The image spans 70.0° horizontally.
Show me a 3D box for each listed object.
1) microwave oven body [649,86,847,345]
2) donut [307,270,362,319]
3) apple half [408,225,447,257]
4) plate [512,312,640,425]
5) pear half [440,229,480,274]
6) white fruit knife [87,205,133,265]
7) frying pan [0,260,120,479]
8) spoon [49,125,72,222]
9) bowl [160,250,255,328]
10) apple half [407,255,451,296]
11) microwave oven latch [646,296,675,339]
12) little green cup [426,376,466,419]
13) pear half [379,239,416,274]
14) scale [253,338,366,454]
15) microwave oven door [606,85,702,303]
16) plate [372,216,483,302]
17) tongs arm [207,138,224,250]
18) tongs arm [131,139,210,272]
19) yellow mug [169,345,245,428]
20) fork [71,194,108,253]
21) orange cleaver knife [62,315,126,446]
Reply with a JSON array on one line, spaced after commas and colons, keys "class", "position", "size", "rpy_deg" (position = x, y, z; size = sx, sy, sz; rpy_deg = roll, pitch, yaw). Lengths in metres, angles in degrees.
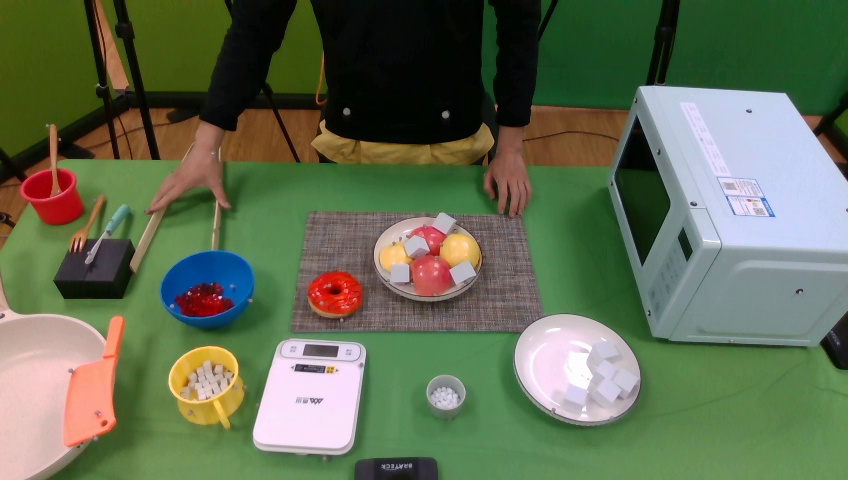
[{"class": "microwave oven body", "position": [0.567, -0.053, 1.118], "size": [0.326, 0.261, 0.439], "rpy_deg": [2, 45, -1]}, {"class": "donut", "position": [-0.158, 0.097, 1.073], "size": [0.099, 0.048, 0.098], "rpy_deg": [4, 45, -4]}, {"class": "apple half", "position": [0.010, -0.006, 1.176], "size": [0.081, 0.033, 0.081], "rpy_deg": [1, 53, -1]}, {"class": "plate", "position": [0.246, 0.213, 0.999], "size": [0.208, 0.039, 0.206], "rpy_deg": [2, 46, -2]}, {"class": "pear half", "position": [0.065, 0.007, 1.150], "size": [0.076, 0.056, 0.109], "rpy_deg": [-10, 43, -3]}, {"class": "white fruit knife", "position": [-0.584, -0.013, 1.129], "size": [0.016, 0.027, 0.206], "rpy_deg": [-1, 32, -4]}, {"class": "frying pan", "position": [-0.647, 0.164, 0.936], "size": [0.307, 0.103, 0.485], "rpy_deg": [-19, 58, -22]}, {"class": "spoon", "position": [-0.718, -0.131, 1.189], "size": [0.041, 0.021, 0.193], "rpy_deg": [-4, 90, -6]}, {"class": "bowl", "position": [-0.362, 0.098, 1.040], "size": [0.151, 0.077, 0.150], "rpy_deg": [2, 45, -2]}, {"class": "apple half", "position": [0.011, 0.058, 1.103], "size": [0.075, 0.053, 0.080], "rpy_deg": [-6, 43, -13]}, {"class": "microwave oven latch", "position": [0.412, 0.134, 1.061], "size": [0.030, 0.029, 0.078], "rpy_deg": [4, 45, 1]}, {"class": "little green cup", "position": [0.033, 0.248, 0.950], "size": [0.061, 0.039, 0.061], "rpy_deg": [2, 46, -2]}, {"class": "pear half", "position": [-0.048, 0.024, 1.147], "size": [0.070, 0.031, 0.087], "rpy_deg": [12, 48, -11]}, {"class": "scale", "position": [-0.175, 0.236, 0.951], "size": [0.149, 0.032, 0.199], "rpy_deg": [4, 45, -1]}, {"class": "microwave oven door", "position": [0.422, -0.094, 1.140], "size": [0.039, 0.245, 0.353], "rpy_deg": [2, 46, -1]}, {"class": "plate", "position": [0.006, 0.038, 1.145], "size": [0.209, 0.038, 0.208], "rpy_deg": [2, 46, -2]}, {"class": "tongs arm", "position": [-0.438, -0.088, 1.244], "size": [0.051, 0.027, 0.382], "rpy_deg": [-7, 46, -5]}, {"class": "tongs arm", "position": [-0.514, -0.084, 1.239], "size": [0.028, 0.028, 0.385], "rpy_deg": [-1, 45, 6]}, {"class": "yellow mug", "position": [-0.322, 0.230, 0.922], "size": [0.100, 0.064, 0.130], "rpy_deg": [-24, 53, -25]}, {"class": "fork", "position": [-0.634, -0.036, 1.158], "size": [0.028, 0.019, 0.206], "rpy_deg": [-8, 32, -8]}, {"class": "orange cleaver knife", "position": [-0.480, 0.199, 0.887], "size": [0.077, 0.012, 0.210], "rpy_deg": [-9, 47, -7]}]
